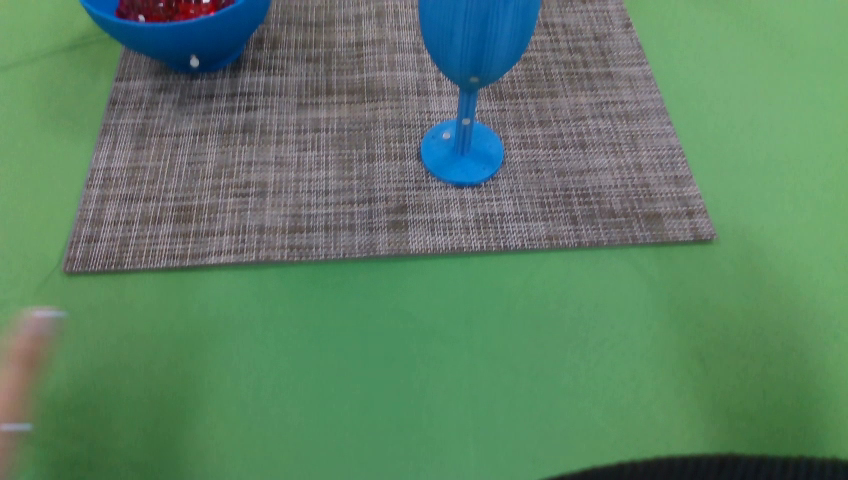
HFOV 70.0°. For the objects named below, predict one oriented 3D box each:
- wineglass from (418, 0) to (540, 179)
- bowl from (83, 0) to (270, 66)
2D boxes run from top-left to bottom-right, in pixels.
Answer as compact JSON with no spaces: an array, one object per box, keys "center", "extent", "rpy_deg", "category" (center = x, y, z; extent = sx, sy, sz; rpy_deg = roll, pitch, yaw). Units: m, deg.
[{"center":[0.031,-0.118,0.393],"extent":[0.074,0.173,0.073],"rpy_deg":[1,58,-1],"category":"wineglass"},{"center":[-0.189,-0.195,0.487],"extent":[0.151,0.077,0.150],"rpy_deg":[1,58,-2],"category":"bowl"}]
